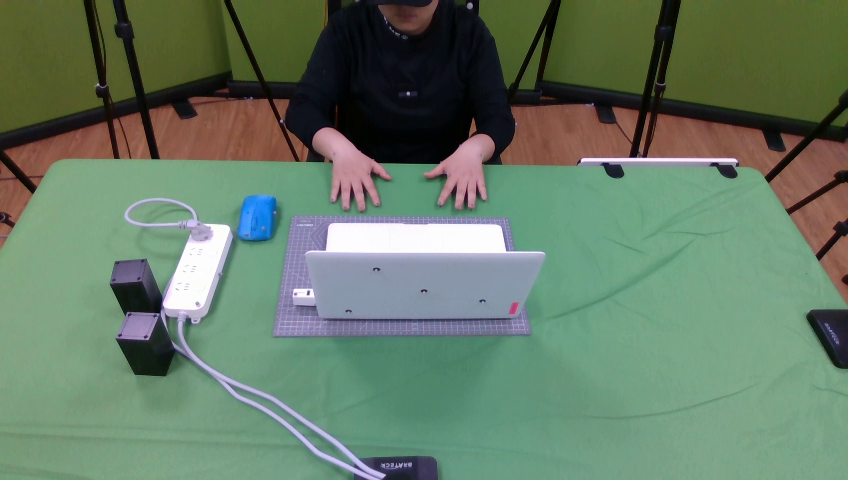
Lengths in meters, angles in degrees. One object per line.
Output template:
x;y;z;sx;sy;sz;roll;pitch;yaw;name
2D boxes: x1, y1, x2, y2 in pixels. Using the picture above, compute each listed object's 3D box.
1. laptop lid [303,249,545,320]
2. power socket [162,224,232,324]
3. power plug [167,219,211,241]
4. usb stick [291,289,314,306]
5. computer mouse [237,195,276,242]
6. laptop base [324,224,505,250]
-0.003;0.076;0.962;0.357;0.242;0.013;1;58;-5;laptop lid
-0.411;0.052;1.106;0.072;0.033;0.225;3;45;-1;power socket
-0.438;-0.017;1.143;0.072;0.053;0.035;10;43;7;power plug
-0.203;0.101;1.067;0.059;0.027;0.021;4;46;-5;usb stick
-0.333;-0.047;1.207;0.063;0.041;0.116;3;50;-5;computer mouse
-0.014;0.055;1.144;0.355;0.023;0.234;0;43;-4;laptop base
